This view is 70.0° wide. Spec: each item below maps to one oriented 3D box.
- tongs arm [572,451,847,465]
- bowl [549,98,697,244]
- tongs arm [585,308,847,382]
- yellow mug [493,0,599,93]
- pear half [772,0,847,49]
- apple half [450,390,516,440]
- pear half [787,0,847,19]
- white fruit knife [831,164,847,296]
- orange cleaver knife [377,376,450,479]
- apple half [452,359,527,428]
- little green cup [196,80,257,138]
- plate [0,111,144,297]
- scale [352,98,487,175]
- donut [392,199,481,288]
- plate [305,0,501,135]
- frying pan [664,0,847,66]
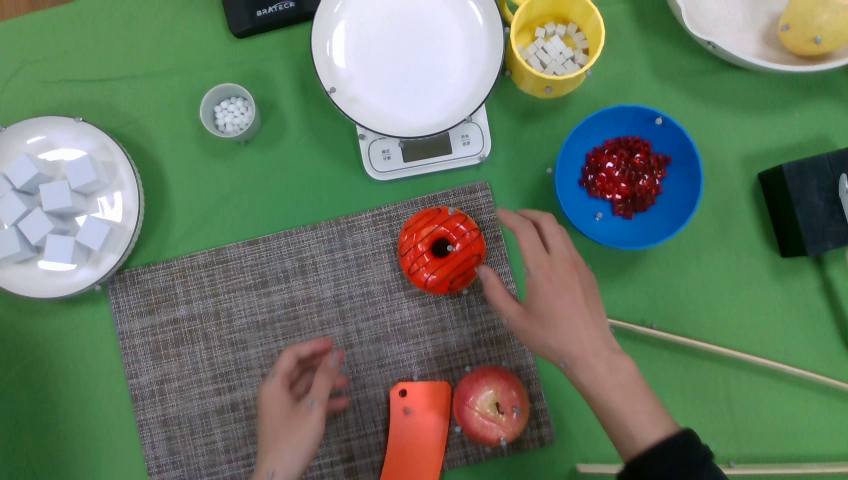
[{"bbox_3d":[0.355,0.218,0.656,0.385,0.026,0.050,2,83,0],"label":"tongs arm"},{"bbox_3d":[0.204,-0.069,0.654,0.151,0.077,0.151,0,87,1],"label":"bowl"},{"bbox_3d":[0.365,0.133,0.663,0.387,0.028,0.028,16,80,1],"label":"tongs arm"},{"bbox_3d":[0.125,-0.232,0.671,0.130,0.064,0.100,43,89,4],"label":"yellow mug"},{"bbox_3d":[0.418,-0.239,0.640,0.076,0.110,0.056,22,87,6],"label":"pear half"},{"bbox_3d":[0.056,0.189,0.638,0.081,0.081,0.032,29,82,3],"label":"apple half"},{"bbox_3d":[0.434,-0.270,0.651,0.070,0.088,0.031,20,88,6],"label":"pear half"},{"bbox_3d":[0.453,0.020,0.644,0.016,0.027,0.208,-17,101,1],"label":"white fruit knife"},{"bbox_3d":[-0.023,0.248,0.663,0.077,0.012,0.211,15,84,-5],"label":"orange cleaver knife"},{"bbox_3d":[0.075,0.155,0.642,0.080,0.075,0.053,27,84,7],"label":"apple half"},{"bbox_3d":[-0.220,-0.145,0.685,0.061,0.038,0.061,0,86,2],"label":"little green cup"},{"bbox_3d":[-0.415,-0.040,0.683,0.208,0.039,0.207,0,86,1],"label":"plate"},{"bbox_3d":[-0.015,-0.182,0.687,0.149,0.031,0.200,-10,87,1],"label":"scale"},{"bbox_3d":[0.013,0.004,0.666,0.099,0.048,0.099,0,87,3],"label":"donut"},{"bbox_3d":[-0.022,-0.214,0.657,0.209,0.038,0.208,0,86,0],"label":"plate"},{"bbox_3d":[0.455,-0.250,0.647,0.307,0.103,0.485,-41,79,-1],"label":"frying pan"}]
